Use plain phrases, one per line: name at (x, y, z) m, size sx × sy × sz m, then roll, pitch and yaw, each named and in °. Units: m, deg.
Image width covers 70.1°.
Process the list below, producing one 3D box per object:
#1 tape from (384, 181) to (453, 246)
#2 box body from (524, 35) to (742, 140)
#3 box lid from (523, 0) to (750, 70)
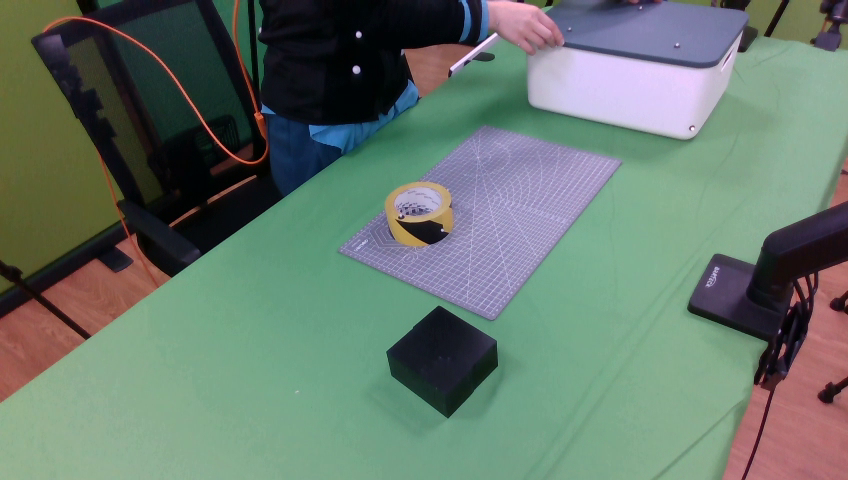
tape at (-0.009, -0.045, 0.994) m, size 0.117 × 0.053 × 0.116 m, roll -4°, pitch 40°, yaw 4°
box body at (0.412, -0.354, 1.213) m, size 0.361 × 0.161 × 0.254 m, roll 20°, pitch 48°, yaw 29°
box lid at (0.406, -0.410, 1.162) m, size 0.369 × 0.015 × 0.264 m, roll 21°, pitch 47°, yaw 29°
